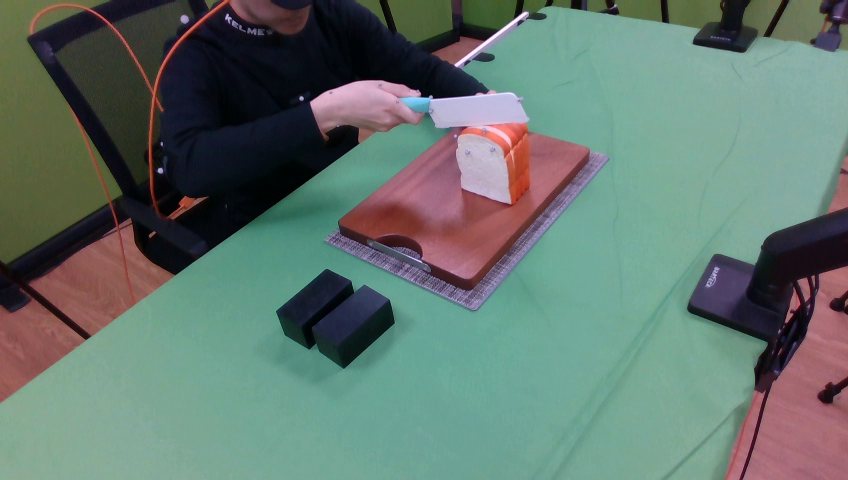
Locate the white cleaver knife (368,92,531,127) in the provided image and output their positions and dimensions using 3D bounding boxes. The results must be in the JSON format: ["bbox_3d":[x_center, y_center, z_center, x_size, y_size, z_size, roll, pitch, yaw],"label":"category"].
[{"bbox_3d":[0.029,-0.200,0.948,0.284,0.066,0.021,6,55,33],"label":"white cleaver knife"}]

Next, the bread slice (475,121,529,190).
[{"bbox_3d":[0.127,-0.151,0.998,0.106,0.135,0.018,23,46,26],"label":"bread slice"}]

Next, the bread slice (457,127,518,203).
[{"bbox_3d":[0.097,-0.121,0.970,0.104,0.132,0.019,20,54,30],"label":"bread slice"}]
